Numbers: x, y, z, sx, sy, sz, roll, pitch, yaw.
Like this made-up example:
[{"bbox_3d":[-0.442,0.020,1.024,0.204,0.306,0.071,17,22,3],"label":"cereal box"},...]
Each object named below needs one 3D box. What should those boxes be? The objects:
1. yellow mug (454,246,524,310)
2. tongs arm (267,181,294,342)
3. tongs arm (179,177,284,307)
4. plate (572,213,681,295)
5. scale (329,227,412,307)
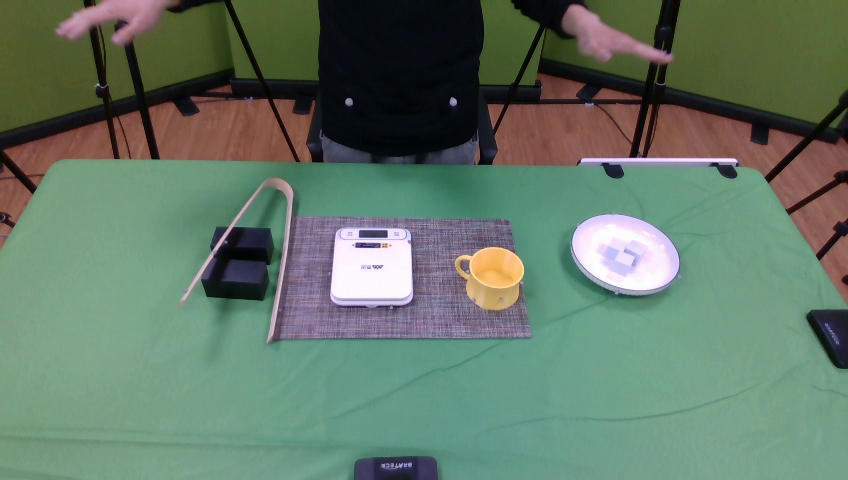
[{"bbox_3d":[0.114,0.064,1.110,0.130,0.064,0.099,21,48,17],"label":"yellow mug"},{"bbox_3d":[-0.273,0.027,1.144,0.028,0.028,0.385,17,42,-22],"label":"tongs arm"},{"bbox_3d":[-0.342,-0.008,1.118,0.051,0.026,0.382,29,38,-14],"label":"tongs arm"},{"bbox_3d":[0.392,0.030,1.189,0.208,0.039,0.206,2,46,-2],"label":"plate"},{"bbox_3d":[-0.099,0.042,1.139,0.149,0.032,0.199,1,46,-4],"label":"scale"}]
